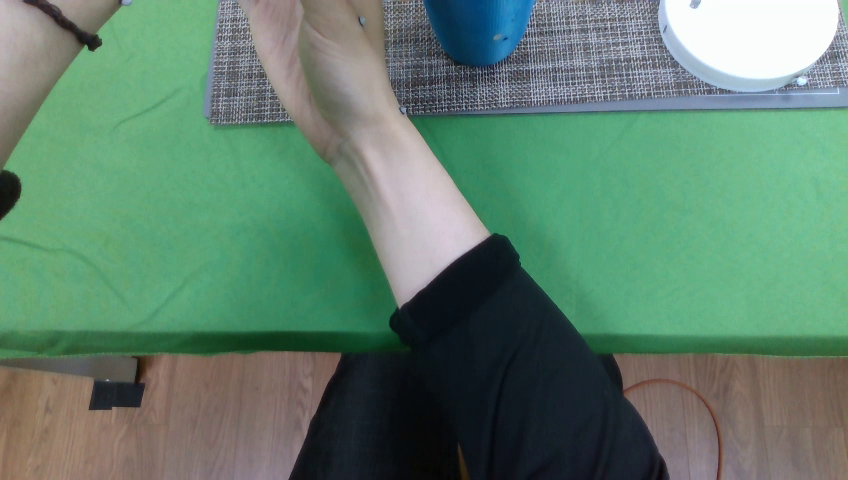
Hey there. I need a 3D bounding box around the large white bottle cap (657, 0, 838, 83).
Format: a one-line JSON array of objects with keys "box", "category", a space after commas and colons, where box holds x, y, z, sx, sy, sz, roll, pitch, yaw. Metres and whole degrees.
[{"box": [0.221, -0.163, 0.417, 0.115, 0.018, 0.114, -1, 74, 4], "category": "large white bottle cap"}]

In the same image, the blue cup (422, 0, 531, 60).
[{"box": [0.034, -0.169, 0.389, 0.092, 0.101, 0.092, -2, 74, 6], "category": "blue cup"}]
